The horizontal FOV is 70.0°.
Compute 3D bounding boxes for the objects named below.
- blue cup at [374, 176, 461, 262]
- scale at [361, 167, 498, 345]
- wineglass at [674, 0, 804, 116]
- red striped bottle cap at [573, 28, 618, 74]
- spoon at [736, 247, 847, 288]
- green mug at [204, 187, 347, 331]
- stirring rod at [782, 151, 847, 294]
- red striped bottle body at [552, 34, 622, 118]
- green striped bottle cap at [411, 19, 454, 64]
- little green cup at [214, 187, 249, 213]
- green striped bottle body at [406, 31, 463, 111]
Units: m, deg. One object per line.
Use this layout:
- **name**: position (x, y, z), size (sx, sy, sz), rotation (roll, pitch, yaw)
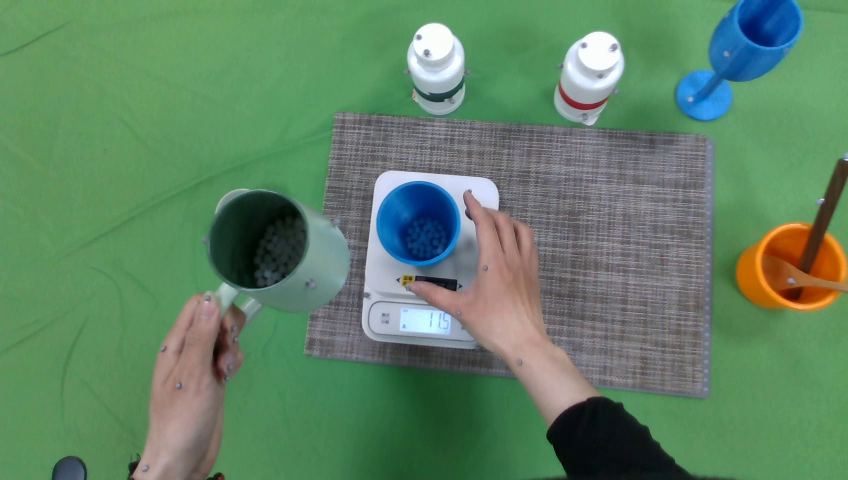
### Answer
- **blue cup**: position (-0.002, -0.014, 0.638), size (0.092, 0.100, 0.092), rotation (-1, 83, 5)
- **scale**: position (0.006, 0.017, 0.699), size (0.148, 0.032, 0.200), rotation (4, 81, 5)
- **wineglass**: position (0.326, -0.194, 0.644), size (0.073, 0.173, 0.073), rotation (-1, 80, 5)
- **red striped bottle cap**: position (0.178, -0.196, 0.627), size (0.044, 0.018, 0.044), rotation (-1, 77, 4)
- **spoon**: position (0.414, 0.041, 0.611), size (0.022, 0.192, 0.041), rotation (20, 89, -36)
- **green mug**: position (-0.127, 0.022, 0.492), size (0.092, 0.105, 0.125), rotation (37, 85, 12)
- **stirring rod**: position (0.400, -0.012, 0.621), size (0.014, 0.178, 0.006), rotation (13, 41, 20)
- **red striped bottle body**: position (0.183, -0.187, 0.680), size (0.063, 0.120, 0.063), rotation (-1, 80, 4)
- **green striped bottle cap**: position (0.009, -0.210, 0.639), size (0.044, 0.020, 0.044), rotation (-1, 80, 4)
- **little green cup**: position (-0.213, -0.030, 0.722), size (0.061, 0.039, 0.061), rotation (0, 81, 3)
- **green striped bottle body**: position (0.013, -0.199, 0.694), size (0.063, 0.119, 0.063), rotation (-1, 80, 4)
